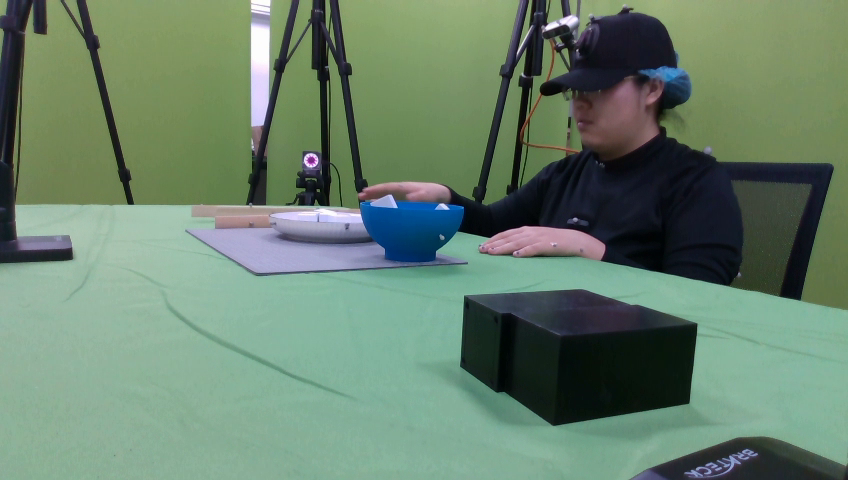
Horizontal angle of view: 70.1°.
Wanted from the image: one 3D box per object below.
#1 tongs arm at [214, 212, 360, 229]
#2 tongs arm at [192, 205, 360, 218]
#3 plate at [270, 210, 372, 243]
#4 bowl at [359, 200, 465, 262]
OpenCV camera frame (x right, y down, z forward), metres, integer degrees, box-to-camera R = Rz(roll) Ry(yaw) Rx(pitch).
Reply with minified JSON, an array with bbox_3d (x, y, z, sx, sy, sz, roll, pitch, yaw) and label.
[{"bbox_3d":[-0.243,-0.043,1.236,0.390,0.028,0.028,-4,8,-44],"label":"tongs arm"},{"bbox_3d":[-0.289,-0.057,1.299,0.387,0.026,0.050,-1,9,-32],"label":"tongs arm"},{"bbox_3d":[-0.161,-0.023,1.054,0.208,0.039,0.207,2,7,0],"label":"plate"},{"bbox_3d":[-0.018,-0.013,0.859,0.151,0.077,0.151,2,7,0],"label":"bowl"}]
